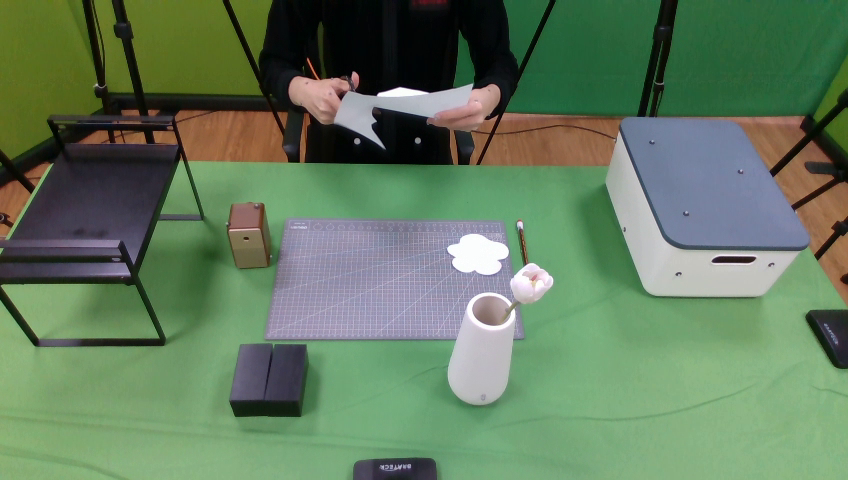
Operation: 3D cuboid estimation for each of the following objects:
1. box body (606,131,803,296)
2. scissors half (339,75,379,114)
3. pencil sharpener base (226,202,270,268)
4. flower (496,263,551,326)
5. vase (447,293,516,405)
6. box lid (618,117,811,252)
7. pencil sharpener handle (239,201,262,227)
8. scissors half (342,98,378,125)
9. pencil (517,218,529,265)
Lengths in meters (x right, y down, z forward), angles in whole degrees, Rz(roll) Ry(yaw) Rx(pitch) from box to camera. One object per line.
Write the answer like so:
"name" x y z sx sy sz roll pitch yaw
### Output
"box body" 0.530 -0.067 1.204 0.254 0.161 0.361 0 46 -4
"scissors half" -0.112 -0.246 1.033 0.013 0.040 0.174 -18 38 -21
"pencil sharpener base" -0.323 -0.010 1.123 0.061 0.107 0.076 -3 46 -7
"flower" 0.102 0.120 0.853 0.044 0.363 0.038 -2 64 -10
"vase" 0.091 0.169 0.921 0.098 0.201 0.097 3 47 -3
"box lid" 0.534 -0.117 1.149 0.263 0.015 0.369 0 47 -3
"pencil sharpener handle" -0.325 -0.055 1.150 0.036 0.068 0.030 -13 46 4
"scissors half" -0.110 -0.225 1.041 0.013 0.040 0.174 -13 8 -23
"pencil" 0.201 0.028 1.196 0.012 0.012 0.193 1 48 -3
